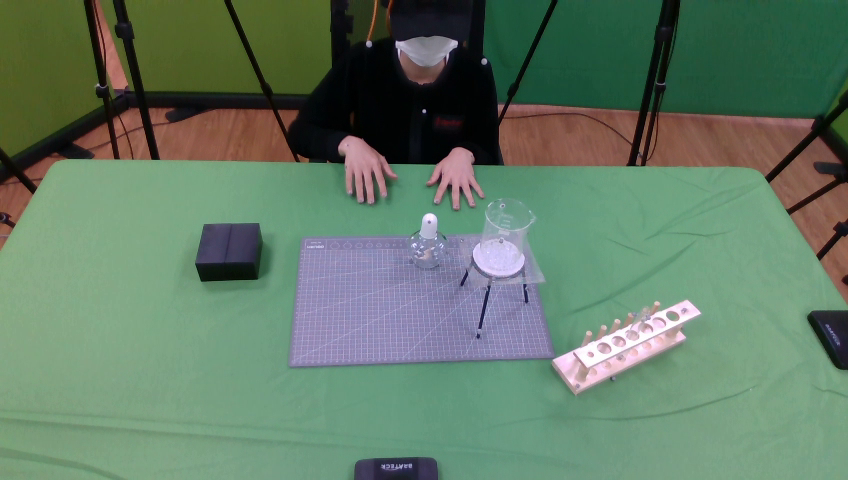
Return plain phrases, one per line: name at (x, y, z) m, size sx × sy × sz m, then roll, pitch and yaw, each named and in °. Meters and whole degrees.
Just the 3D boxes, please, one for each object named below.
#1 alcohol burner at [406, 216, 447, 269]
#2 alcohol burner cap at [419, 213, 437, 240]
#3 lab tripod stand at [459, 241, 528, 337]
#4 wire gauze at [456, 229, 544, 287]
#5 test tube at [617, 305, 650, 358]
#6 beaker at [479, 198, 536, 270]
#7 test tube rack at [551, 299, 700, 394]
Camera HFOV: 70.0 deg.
alcohol burner at (0.006, -0.003, 1.134) m, size 0.078 × 0.120 × 0.077 m, roll 2°, pitch 48°, yaw -2°
alcohol burner cap at (0.009, -0.027, 1.109) m, size 0.034 × 0.048 × 0.033 m, roll 3°, pitch 44°, yaw -3°
lab tripod stand at (0.122, 0.075, 1.054) m, size 0.148 × 0.132 × 0.147 m, roll 3°, pitch 44°, yaw -3°
wire gauze at (0.125, 0.030, 1.008) m, size 0.125 × 0.011 × 0.120 m, roll -2°, pitch 48°, yaw -11°
test tube at (0.333, 0.149, 0.967) m, size 0.017 × 0.151 × 0.017 m, roll 0°, pitch 52°, yaw 1°
beaker at (0.131, -0.007, 0.975) m, size 0.084 × 0.101 × 0.073 m, roll 2°, pitch 46°, yaw -3°
test tube rack at (0.339, 0.166, 1.021) m, size 0.242 × 0.085 × 0.066 m, roll -19°, pitch 50°, yaw -21°
